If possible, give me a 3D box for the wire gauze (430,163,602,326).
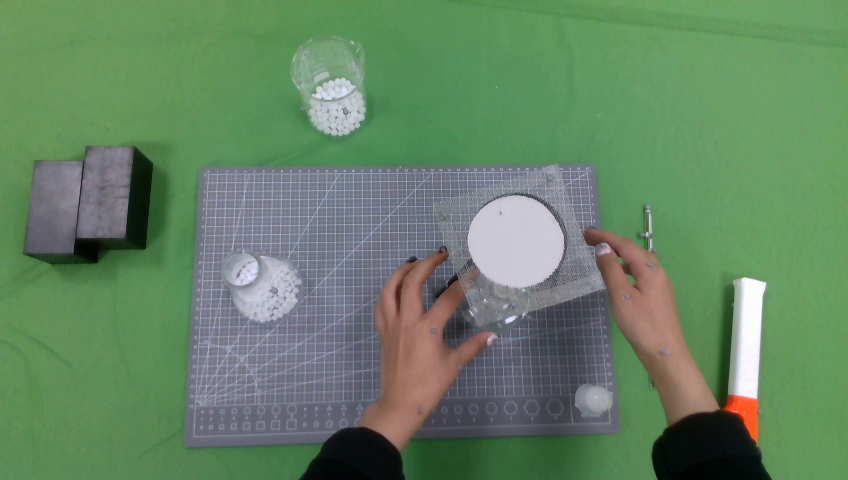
[{"bbox_3d":[0.082,0.003,0.541,0.125,0.011,0.121,-17,79,-6],"label":"wire gauze"}]

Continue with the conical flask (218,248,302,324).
[{"bbox_3d":[-0.166,0.040,0.595,0.075,0.122,0.075,1,77,-2],"label":"conical flask"}]

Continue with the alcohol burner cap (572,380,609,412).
[{"bbox_3d":[0.174,0.162,0.626,0.034,0.048,0.033,1,78,-2],"label":"alcohol burner cap"}]

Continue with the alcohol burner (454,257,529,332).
[{"bbox_3d":[0.071,0.053,0.609,0.078,0.119,0.077,1,77,-4],"label":"alcohol burner"}]

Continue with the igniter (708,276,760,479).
[{"bbox_3d":[0.331,0.175,0.642,0.057,0.025,0.275,14,77,-11],"label":"igniter"}]

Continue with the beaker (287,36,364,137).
[{"bbox_3d":[-0.100,-0.163,0.660,0.084,0.100,0.074,-41,82,-11],"label":"beaker"}]

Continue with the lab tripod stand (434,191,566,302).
[{"bbox_3d":[0.079,0.016,0.608,0.148,0.132,0.147,0,79,-2],"label":"lab tripod stand"}]

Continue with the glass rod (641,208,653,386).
[{"bbox_3d":[0.247,0.060,0.673,0.008,0.008,0.198,4,76,-2],"label":"glass rod"}]
